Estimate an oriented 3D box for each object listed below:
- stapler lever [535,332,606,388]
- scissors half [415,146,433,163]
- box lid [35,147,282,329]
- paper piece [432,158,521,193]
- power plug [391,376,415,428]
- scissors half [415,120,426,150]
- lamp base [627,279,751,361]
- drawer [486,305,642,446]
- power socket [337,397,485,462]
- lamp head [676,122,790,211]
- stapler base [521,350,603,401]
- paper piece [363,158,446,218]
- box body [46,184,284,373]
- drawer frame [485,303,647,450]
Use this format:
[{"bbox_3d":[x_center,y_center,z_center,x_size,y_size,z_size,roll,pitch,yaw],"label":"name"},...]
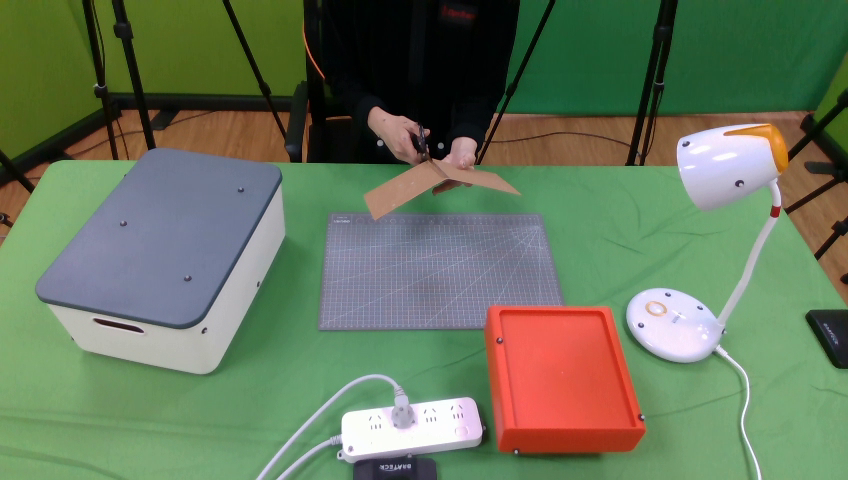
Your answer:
[{"bbox_3d":[0.225,0.181,0.929,0.118,0.040,0.027,27,34,15],"label":"stapler lever"},{"bbox_3d":[0.001,-0.151,1.116,0.013,0.040,0.174,-4,10,-8],"label":"scissors half"},{"bbox_3d":[-0.411,-0.023,0.987,0.263,0.015,0.369,10,47,5],"label":"box lid"},{"bbox_3d":[0.085,-0.112,1.038,0.136,0.008,0.137,14,16,-18],"label":"paper piece"},{"bbox_3d":[-0.030,0.249,0.917,0.035,0.053,0.072,3,46,0],"label":"power plug"},{"bbox_3d":[0.001,-0.172,1.107,0.013,0.040,0.174,-8,41,-6],"label":"scissors half"},{"bbox_3d":[0.460,0.100,1.027,0.178,0.181,0.160,27,51,17],"label":"lamp base"},{"bbox_3d":[0.202,0.200,0.919,0.195,0.073,0.210,2,47,-4],"label":"drawer"},{"bbox_3d":[-0.018,0.285,0.915,0.227,0.033,0.071,-4,46,-8],"label":"power socket"},{"bbox_3d":[0.423,-0.104,0.819,0.122,0.113,0.112,-13,33,40],"label":"lamp head"},{"bbox_3d":[0.217,0.203,0.942,0.130,0.024,0.041,26,34,16],"label":"stapler base"},{"bbox_3d":[-0.036,-0.092,1.015,0.135,0.004,0.135,-29,25,0],"label":"paper piece"},{"bbox_3d":[-0.414,0.029,1.040,0.254,0.161,0.362,10,46,5],"label":"box body"},{"bbox_3d":[0.204,0.202,0.917,0.202,0.083,0.212,1,47,-4],"label":"drawer frame"}]
